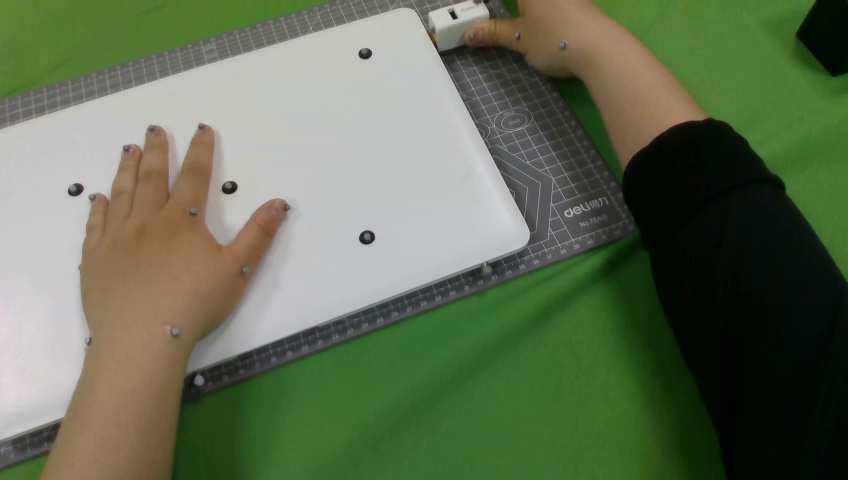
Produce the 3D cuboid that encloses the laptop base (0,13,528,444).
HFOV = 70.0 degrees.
[{"bbox_3d":[-0.133,-0.031,0.428,0.355,0.023,0.233,-20,66,-8],"label":"laptop base"}]

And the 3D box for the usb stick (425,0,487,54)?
[{"bbox_3d":[0.019,-0.166,0.478,0.059,0.027,0.021,-21,55,-2],"label":"usb stick"}]

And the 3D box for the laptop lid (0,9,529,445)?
[{"bbox_3d":[-0.133,-0.033,0.418,0.357,0.013,0.239,-18,65,-7],"label":"laptop lid"}]
